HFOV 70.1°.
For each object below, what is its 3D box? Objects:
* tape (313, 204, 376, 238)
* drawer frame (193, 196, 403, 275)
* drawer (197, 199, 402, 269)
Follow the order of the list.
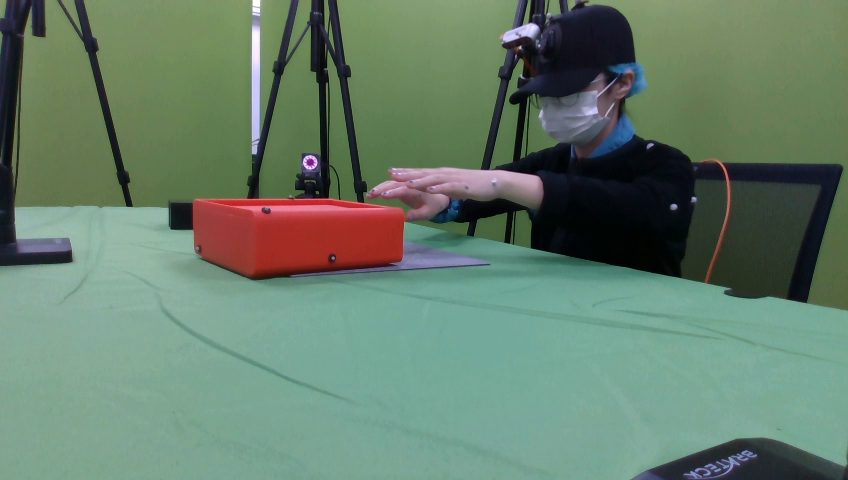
[{"bbox_3d":[-0.145,-0.036,1.117,0.117,0.052,0.117,3,8,0],"label":"tape"},{"bbox_3d":[-0.170,-0.014,0.814,0.215,0.082,0.200,-5,10,-40],"label":"drawer frame"},{"bbox_3d":[-0.169,-0.013,0.817,0.213,0.073,0.193,-5,10,-39],"label":"drawer"}]
